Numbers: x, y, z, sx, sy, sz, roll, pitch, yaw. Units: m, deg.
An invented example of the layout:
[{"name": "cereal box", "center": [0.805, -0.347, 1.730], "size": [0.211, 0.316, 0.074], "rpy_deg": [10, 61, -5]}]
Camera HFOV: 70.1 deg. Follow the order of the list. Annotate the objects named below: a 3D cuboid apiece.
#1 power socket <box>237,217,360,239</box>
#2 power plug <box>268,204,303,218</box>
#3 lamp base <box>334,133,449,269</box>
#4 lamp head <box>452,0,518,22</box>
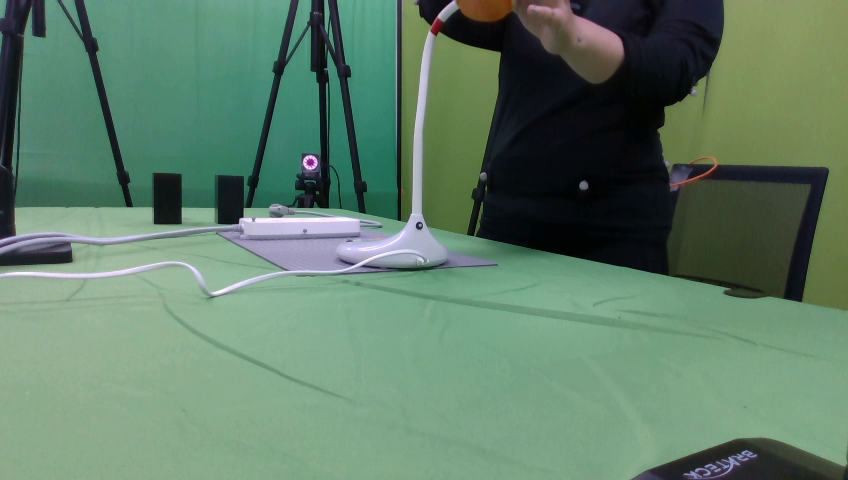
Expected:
[{"name": "power socket", "center": [-0.221, -0.023, 1.080], "size": [0.228, 0.032, 0.072], "rpy_deg": [-2, 8, -32]}, {"name": "power plug", "center": [-0.327, -0.060, 1.404], "size": [0.073, 0.035, 0.052], "rpy_deg": [22, -14, -25]}, {"name": "lamp base", "center": [-0.034, -0.057, 0.831], "size": [0.161, 0.180, 0.178], "rpy_deg": [-2, 12, -36]}, {"name": "lamp head", "center": [0.071, -0.319, 0.706], "size": [0.112, 0.122, 0.112], "rpy_deg": [7, -2, 1]}]
